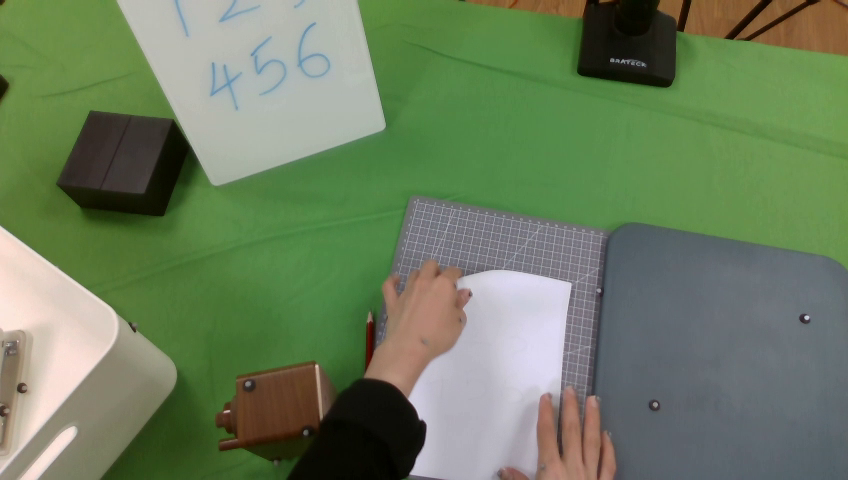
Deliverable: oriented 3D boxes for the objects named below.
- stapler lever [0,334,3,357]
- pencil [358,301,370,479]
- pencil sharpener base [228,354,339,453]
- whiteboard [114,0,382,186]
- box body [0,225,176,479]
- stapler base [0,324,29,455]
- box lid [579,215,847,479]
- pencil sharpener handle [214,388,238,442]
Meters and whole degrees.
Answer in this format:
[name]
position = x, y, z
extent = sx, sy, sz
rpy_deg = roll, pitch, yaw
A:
[stapler lever]
position = -0.418, 0.134, 0.566
extent = 0.027, 0.040, 0.117
rpy_deg = -9, 68, -1
[pencil]
position = -0.058, 0.151, 0.597
extent = 0.012, 0.012, 0.192
rpy_deg = -2, 65, 0
[pencil sharpener base]
position = -0.124, 0.151, 0.545
extent = 0.077, 0.108, 0.061
rpy_deg = -10, 65, -4
[whiteboard]
position = -0.194, -0.250, 0.657
extent = 0.217, 0.308, 0.142
rpy_deg = -21, 47, -8
[box body]
position = -0.446, 0.102, 0.539
extent = 0.362, 0.161, 0.253
rpy_deg = 30, 69, 14
[stapler base]
position = -0.418, 0.143, 0.590
extent = 0.041, 0.024, 0.129
rpy_deg = -9, 67, -2
[box lid]
position = 0.294, 0.152, 0.595
extent = 0.263, 0.015, 0.369
rpy_deg = 11, 66, 4
[pencil sharpener handle]
position = -0.173, 0.157, 0.528
extent = 0.031, 0.068, 0.035
rpy_deg = -10, 48, -3
